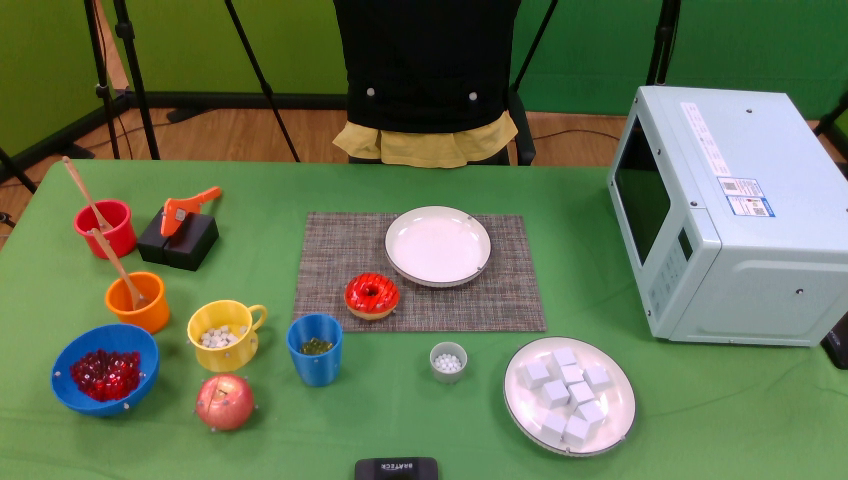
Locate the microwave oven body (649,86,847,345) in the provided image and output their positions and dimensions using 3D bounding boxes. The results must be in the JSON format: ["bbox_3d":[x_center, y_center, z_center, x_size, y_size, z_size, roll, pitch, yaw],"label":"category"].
[{"bbox_3d":[0.568,-0.053,1.118,0.326,0.261,0.439,2,45,-1],"label":"microwave oven body"}]

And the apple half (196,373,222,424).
[{"bbox_3d":[-0.322,0.239,0.907,0.033,0.081,0.081,7,46,-1],"label":"apple half"}]

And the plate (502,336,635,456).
[{"bbox_3d":[0.225,0.248,0.963,0.208,0.039,0.206,2,46,-2],"label":"plate"}]

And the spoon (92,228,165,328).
[{"bbox_3d":[-0.496,0.063,1.014,0.041,0.194,0.021,-34,12,-31],"label":"spoon"}]

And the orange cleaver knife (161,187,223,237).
[{"bbox_3d":[-0.449,-0.059,1.180,0.012,0.077,0.211,14,17,6],"label":"orange cleaver knife"}]

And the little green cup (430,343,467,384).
[{"bbox_3d":[0.039,0.203,0.994,0.061,0.039,0.061,2,46,-2],"label":"little green cup"}]

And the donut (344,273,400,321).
[{"bbox_3d":[-0.092,0.099,1.075,0.099,0.048,0.098,3,44,-2],"label":"donut"}]

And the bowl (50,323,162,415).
[{"bbox_3d":[-0.472,0.209,0.924,0.151,0.077,0.150,2,45,-2],"label":"bowl"}]

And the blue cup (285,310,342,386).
[{"bbox_3d":[-0.170,0.179,0.958,0.093,0.101,0.092,1,44,-1],"label":"blue cup"}]

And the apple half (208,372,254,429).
[{"bbox_3d":[-0.283,0.244,0.908,0.053,0.075,0.080,7,42,-1],"label":"apple half"}]

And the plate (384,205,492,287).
[{"bbox_3d":[0.027,0.015,1.169,0.209,0.038,0.208,2,46,-2],"label":"plate"}]

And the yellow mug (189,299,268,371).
[{"bbox_3d":[-0.316,0.148,1.002,0.131,0.064,0.099,-32,56,-32],"label":"yellow mug"}]

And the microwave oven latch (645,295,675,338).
[{"bbox_3d":[0.412,0.134,1.061,0.030,0.029,0.078,3,45,0],"label":"microwave oven latch"}]

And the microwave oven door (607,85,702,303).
[{"bbox_3d":[0.423,-0.094,1.141,0.039,0.245,0.353,2,46,-1],"label":"microwave oven door"}]

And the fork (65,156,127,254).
[{"bbox_3d":[-0.614,-0.064,1.130,0.028,0.018,0.207,-29,96,-14],"label":"fork"}]
